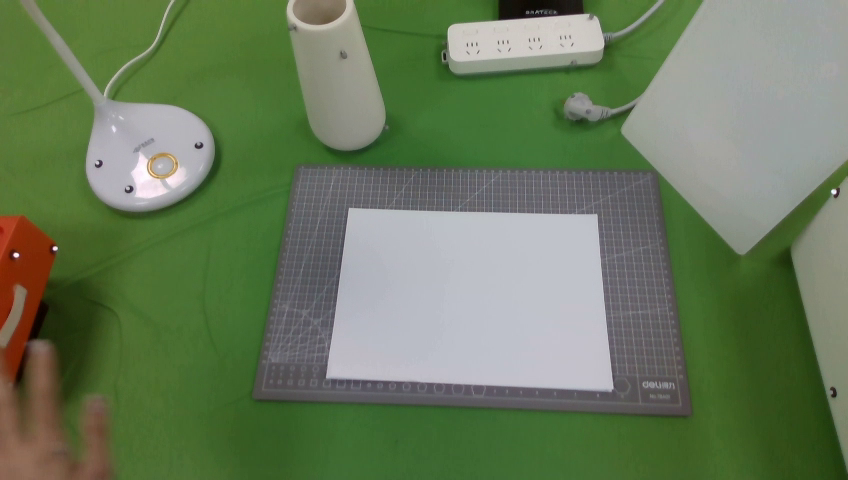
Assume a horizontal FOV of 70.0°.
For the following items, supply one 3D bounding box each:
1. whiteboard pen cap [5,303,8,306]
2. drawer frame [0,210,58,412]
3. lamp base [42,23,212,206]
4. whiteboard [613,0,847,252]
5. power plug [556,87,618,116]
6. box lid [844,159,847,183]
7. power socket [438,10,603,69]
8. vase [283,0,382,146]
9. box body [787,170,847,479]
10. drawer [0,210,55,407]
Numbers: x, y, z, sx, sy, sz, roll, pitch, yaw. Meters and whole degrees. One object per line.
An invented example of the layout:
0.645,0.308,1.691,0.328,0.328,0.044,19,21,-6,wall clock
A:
-0.451,0.068,0.625,0.033,0.018,0.018,-27,64,-15,whiteboard pen cap
-0.516,0.072,0.605,0.213,0.083,0.200,0,64,1,drawer frame
-0.363,-0.155,0.705,0.178,0.182,0.160,32,68,20,lamp base
0.391,-0.174,0.650,0.144,0.307,0.215,-19,61,-28,whiteboard
0.207,-0.174,0.786,0.073,0.035,0.052,10,26,-36,power plug
0.513,0.072,0.480,0.263,0.015,0.368,0,63,3,box lid
0.132,-0.275,0.830,0.227,0.033,0.071,-3,63,0,power socket
-0.107,-0.200,0.708,0.098,0.201,0.097,-2,62,3,vase
0.516,0.109,0.546,0.254,0.161,0.361,0,63,2,box body
-0.511,0.069,0.602,0.212,0.074,0.193,0,64,2,drawer
